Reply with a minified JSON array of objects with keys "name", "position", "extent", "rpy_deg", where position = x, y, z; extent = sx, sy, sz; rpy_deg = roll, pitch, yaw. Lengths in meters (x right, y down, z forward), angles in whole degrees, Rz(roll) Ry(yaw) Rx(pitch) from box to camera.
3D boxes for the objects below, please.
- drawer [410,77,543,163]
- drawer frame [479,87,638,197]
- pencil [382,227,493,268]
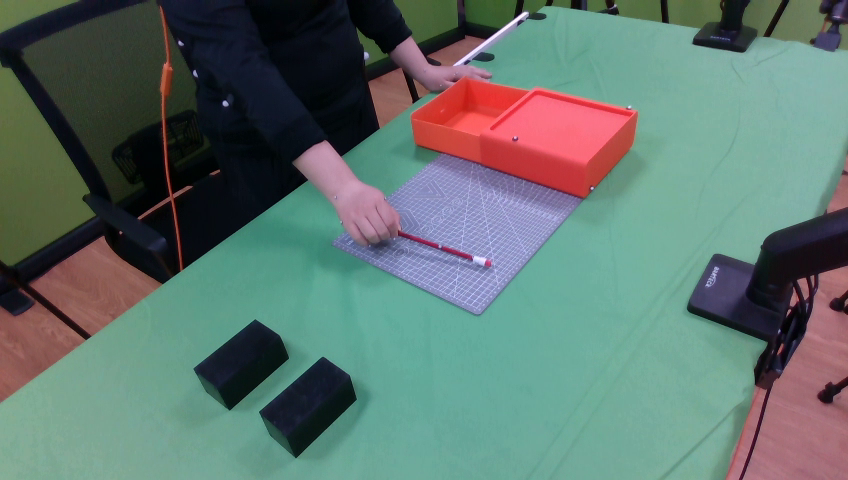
[{"name":"drawer","position":[0.113,-0.235,1.186],"extent":[0.210,0.073,0.195],"rpy_deg":[21,46,32]},{"name":"drawer frame","position":[0.243,-0.184,1.100],"extent":[0.212,0.083,0.202],"rpy_deg":[23,48,30]},{"name":"pencil","position":[0.017,0.009,0.942],"extent":[0.193,0.012,0.012],"rpy_deg":[19,46,20]}]
